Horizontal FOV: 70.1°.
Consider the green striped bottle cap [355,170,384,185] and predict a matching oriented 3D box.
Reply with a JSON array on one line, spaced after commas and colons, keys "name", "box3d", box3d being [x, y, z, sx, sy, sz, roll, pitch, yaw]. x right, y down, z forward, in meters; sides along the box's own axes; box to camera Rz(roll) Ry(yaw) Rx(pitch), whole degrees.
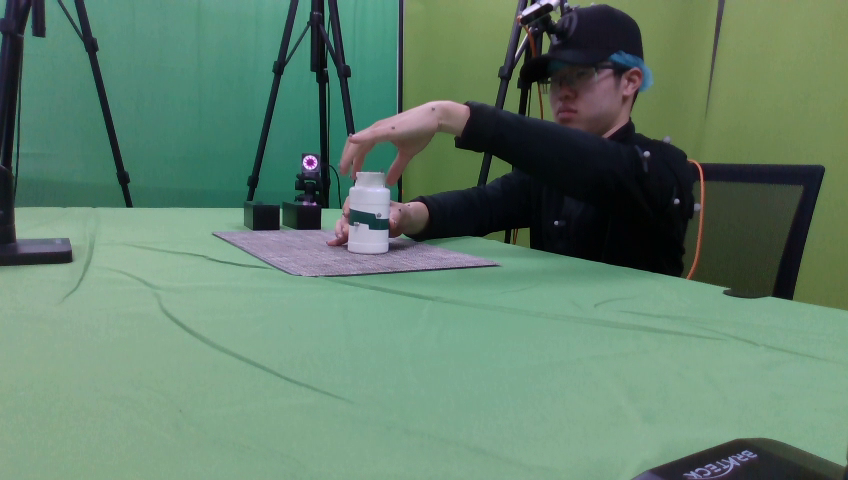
[{"name": "green striped bottle cap", "box3d": [-0.082, -0.093, 0.906, 0.044, 0.020, 0.044, 2, 7, 0]}]

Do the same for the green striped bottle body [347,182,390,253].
[{"name": "green striped bottle body", "box3d": [-0.083, -0.042, 0.913, 0.063, 0.119, 0.063, 3, 8, 0]}]
